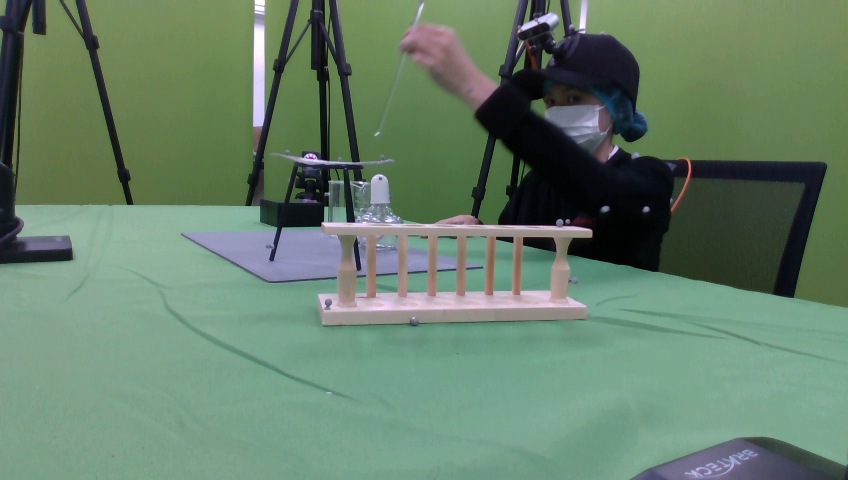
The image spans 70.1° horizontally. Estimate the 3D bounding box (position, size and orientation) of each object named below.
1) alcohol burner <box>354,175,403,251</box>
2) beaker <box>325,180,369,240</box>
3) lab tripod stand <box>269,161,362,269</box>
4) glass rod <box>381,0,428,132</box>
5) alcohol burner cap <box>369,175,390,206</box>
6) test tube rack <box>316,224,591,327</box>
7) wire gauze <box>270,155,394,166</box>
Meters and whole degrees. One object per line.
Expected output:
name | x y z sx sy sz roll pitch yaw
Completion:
alcohol burner | -0.072 -0.042 0.944 0.078 0.119 0.078 1 9 0
beaker | -0.133 -0.052 1.058 0.074 0.100 0.083 -3 10 -36
lab tripod stand | -0.125 -0.036 0.794 0.148 0.131 0.148 5 7 0
glass rod | -0.028 -0.250 0.865 0.008 0.199 0.008 19 8 -2
alcohol burner cap | -0.069 -0.077 0.939 0.034 0.048 0.034 -1 6 0
test tube rack | 0.026 0.028 0.555 0.243 0.085 0.066 1 7 -15
wire gauze | -0.122 -0.102 0.785 0.122 0.011 0.124 -3 10 -39
